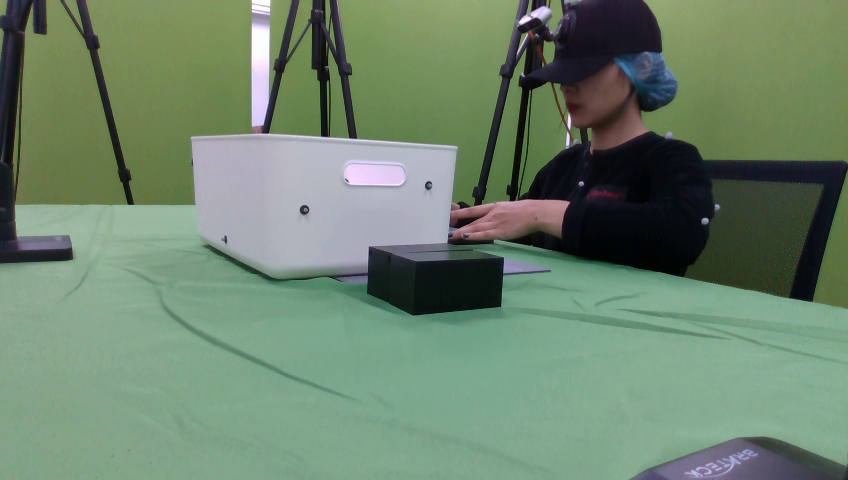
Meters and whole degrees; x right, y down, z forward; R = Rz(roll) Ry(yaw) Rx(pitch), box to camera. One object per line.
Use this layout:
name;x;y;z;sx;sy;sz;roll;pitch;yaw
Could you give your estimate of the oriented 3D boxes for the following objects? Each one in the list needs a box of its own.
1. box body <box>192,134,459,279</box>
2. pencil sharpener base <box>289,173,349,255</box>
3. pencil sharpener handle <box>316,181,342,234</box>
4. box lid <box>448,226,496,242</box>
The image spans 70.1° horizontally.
box body;-0.154;-0.059;0.840;0.255;0.160;0.362;-2;9;-33
pencil sharpener base;-0.145;-0.037;0.832;0.062;0.107;0.076;-1;8;-31
pencil sharpener handle;-0.119;-0.042;0.787;0.036;0.067;0.030;2;7;-31
box lid;-0.062;-0.021;1.188;0.265;0.015;0.369;-2;8;-32
